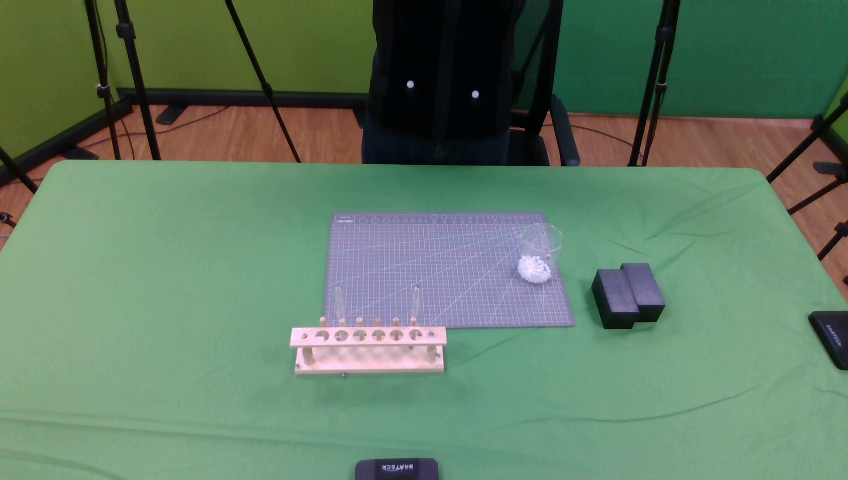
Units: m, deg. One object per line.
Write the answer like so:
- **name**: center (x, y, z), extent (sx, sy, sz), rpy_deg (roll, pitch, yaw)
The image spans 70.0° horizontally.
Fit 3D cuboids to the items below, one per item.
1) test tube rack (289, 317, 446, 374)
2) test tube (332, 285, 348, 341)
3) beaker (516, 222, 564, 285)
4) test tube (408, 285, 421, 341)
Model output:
- **test tube rack**: center (-0.089, 0.167, 0.988), extent (0.242, 0.085, 0.066), rpy_deg (0, 46, -4)
- **test tube**: center (-0.133, 0.122, 0.965), extent (0.017, 0.151, 0.017), rpy_deg (1, 47, -1)
- **beaker**: center (0.211, 0.029, 1.132), extent (0.084, 0.101, 0.073), rpy_deg (-1, 46, -4)
- **test tube**: center (-0.016, 0.123, 0.973), extent (0.017, 0.151, 0.017), rpy_deg (3, 46, -2)
